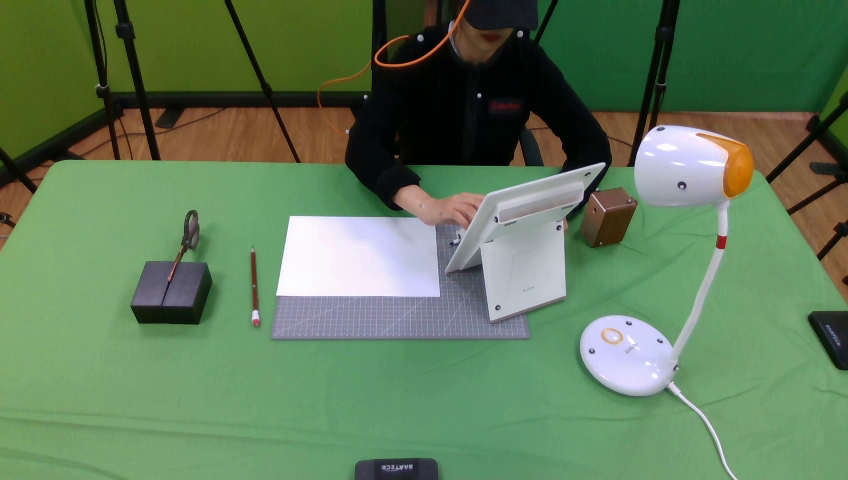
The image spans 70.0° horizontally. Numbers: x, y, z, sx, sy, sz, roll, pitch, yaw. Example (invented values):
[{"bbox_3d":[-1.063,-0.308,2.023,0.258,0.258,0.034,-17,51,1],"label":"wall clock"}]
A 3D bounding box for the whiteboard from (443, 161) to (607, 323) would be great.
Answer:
[{"bbox_3d":[0.185,0.025,1.029,0.217,0.306,0.143,-15,68,-18],"label":"whiteboard"}]

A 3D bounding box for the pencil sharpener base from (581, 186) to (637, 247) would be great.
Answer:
[{"bbox_3d":[0.369,-0.047,1.209,0.077,0.107,0.061,-11,47,-14],"label":"pencil sharpener base"}]

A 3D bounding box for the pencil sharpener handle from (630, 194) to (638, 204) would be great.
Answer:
[{"bbox_3d":[0.417,-0.068,1.215,0.031,0.068,0.036,-11,60,-14],"label":"pencil sharpener handle"}]

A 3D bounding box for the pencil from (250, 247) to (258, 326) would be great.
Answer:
[{"bbox_3d":[-0.312,0.079,1.107,0.012,0.012,0.192,-8,46,-11],"label":"pencil"}]

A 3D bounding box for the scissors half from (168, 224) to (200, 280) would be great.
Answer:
[{"bbox_3d":[-0.440,0.023,1.111,0.013,0.040,0.174,7,29,-6],"label":"scissors half"}]

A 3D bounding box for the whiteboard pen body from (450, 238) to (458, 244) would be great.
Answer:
[{"bbox_3d":[0.110,-0.018,1.222,0.141,0.017,0.017,-23,52,-24],"label":"whiteboard pen body"}]

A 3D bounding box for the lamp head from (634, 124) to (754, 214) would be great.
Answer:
[{"bbox_3d":[0.351,-0.089,0.776,0.112,0.113,0.122,-30,30,-28],"label":"lamp head"}]

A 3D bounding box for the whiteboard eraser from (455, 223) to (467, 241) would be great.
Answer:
[{"bbox_3d":[0.115,-0.022,1.103,0.113,0.055,0.042,-19,85,-10],"label":"whiteboard eraser"}]

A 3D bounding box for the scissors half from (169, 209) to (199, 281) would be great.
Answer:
[{"bbox_3d":[-0.438,0.007,1.098,0.013,0.040,0.174,3,48,-3],"label":"scissors half"}]

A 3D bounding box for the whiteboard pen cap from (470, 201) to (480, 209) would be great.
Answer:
[{"bbox_3d":[0.113,-0.073,1.280,0.033,0.018,0.018,5,46,5],"label":"whiteboard pen cap"}]

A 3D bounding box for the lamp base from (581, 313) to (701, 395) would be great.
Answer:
[{"bbox_3d":[0.361,0.144,0.973,0.178,0.181,0.160,34,53,23],"label":"lamp base"}]
